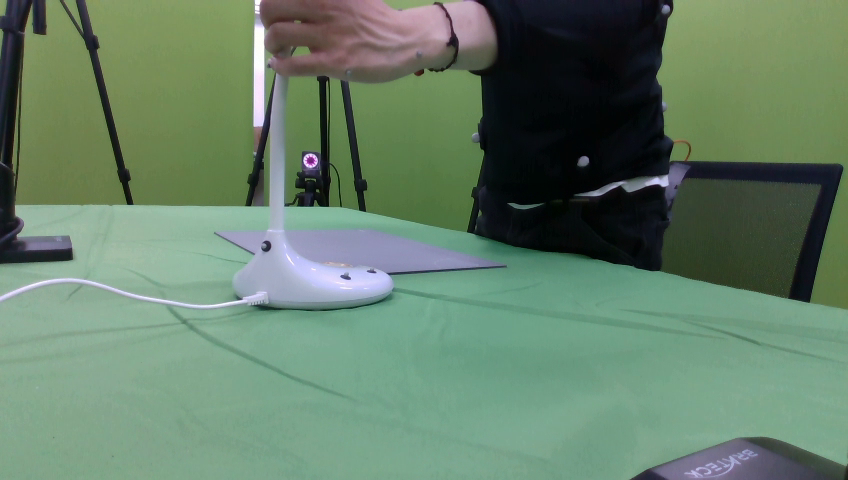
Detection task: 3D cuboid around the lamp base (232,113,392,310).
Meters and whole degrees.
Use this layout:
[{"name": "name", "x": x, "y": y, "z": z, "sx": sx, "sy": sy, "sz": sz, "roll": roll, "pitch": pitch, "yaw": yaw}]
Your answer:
[{"name": "lamp base", "x": -0.113, "y": -0.031, "z": 0.593, "sx": 0.160, "sy": 0.180, "sz": 0.179, "roll": 4, "pitch": 10, "yaw": 18}]
